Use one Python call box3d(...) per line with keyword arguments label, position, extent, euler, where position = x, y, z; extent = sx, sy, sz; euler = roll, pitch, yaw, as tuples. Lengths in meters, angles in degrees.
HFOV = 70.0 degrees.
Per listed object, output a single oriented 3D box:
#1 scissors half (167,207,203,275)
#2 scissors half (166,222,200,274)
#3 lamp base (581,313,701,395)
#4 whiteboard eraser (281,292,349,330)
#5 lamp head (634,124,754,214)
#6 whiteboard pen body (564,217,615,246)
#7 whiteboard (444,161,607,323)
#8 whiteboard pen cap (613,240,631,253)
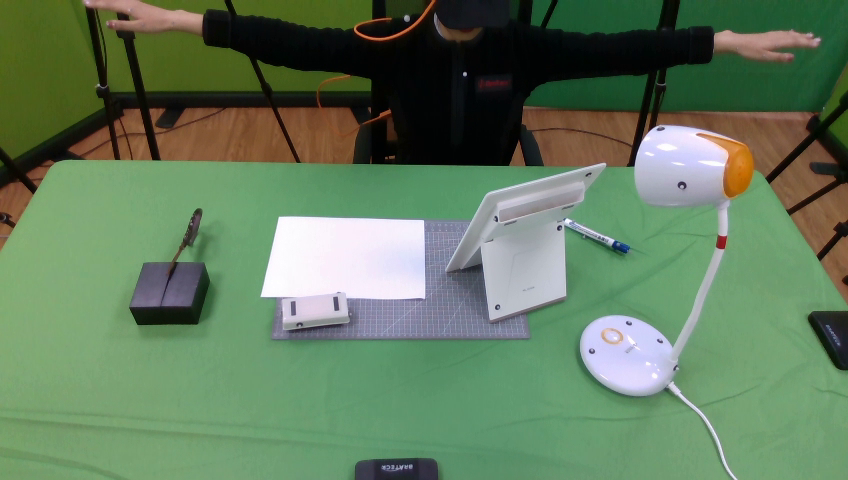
box3d(label="scissors half", position=(-0.436, 0.000, 1.104), extent=(0.013, 0.040, 0.174), euler=(21, 44, -14))
box3d(label="scissors half", position=(-0.444, 0.014, 1.116), extent=(0.013, 0.040, 0.174), euler=(16, 27, -10))
box3d(label="lamp base", position=(0.361, 0.144, 0.972), extent=(0.178, 0.181, 0.160), euler=(34, 53, 23))
box3d(label="whiteboard eraser", position=(-0.189, 0.124, 1.045), extent=(0.113, 0.042, 0.055), euler=(-6, 46, -10))
box3d(label="lamp head", position=(0.351, -0.089, 0.775), extent=(0.112, 0.113, 0.122), euler=(-30, 30, -28))
box3d(label="whiteboard pen body", position=(0.346, -0.013, 1.233), extent=(0.140, 0.017, 0.017), euler=(29, 51, 26))
box3d(label="whiteboard", position=(0.186, 0.025, 1.029), extent=(0.217, 0.306, 0.143), euler=(-14, 68, -18))
box3d(label="whiteboard pen cap", position=(0.393, 0.012, 1.207), extent=(0.033, 0.018, 0.018), euler=(26, 50, 28))
